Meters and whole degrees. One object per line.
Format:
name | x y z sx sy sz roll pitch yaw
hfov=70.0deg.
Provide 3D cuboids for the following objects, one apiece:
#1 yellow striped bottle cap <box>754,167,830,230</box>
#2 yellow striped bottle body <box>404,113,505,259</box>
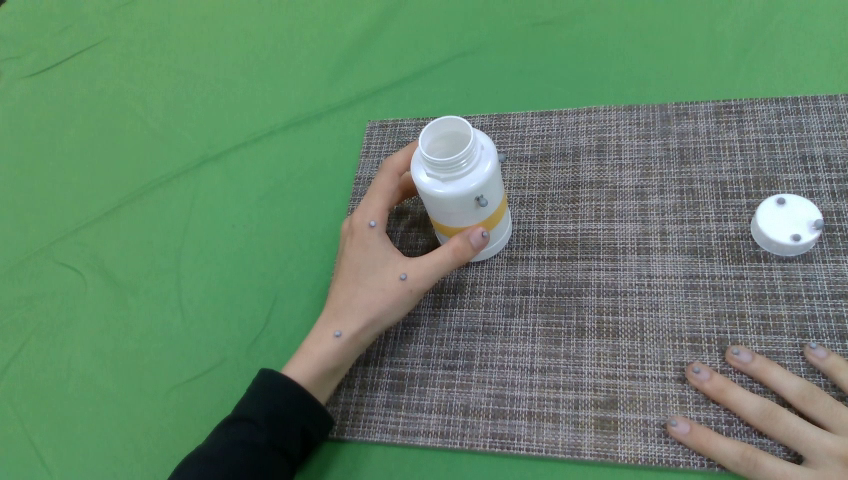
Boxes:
yellow striped bottle cap | 0.253 -0.028 0.419 0.044 0.019 0.044 -9 50 11
yellow striped bottle body | 0.023 -0.040 0.450 0.062 0.121 0.062 -6 59 11
